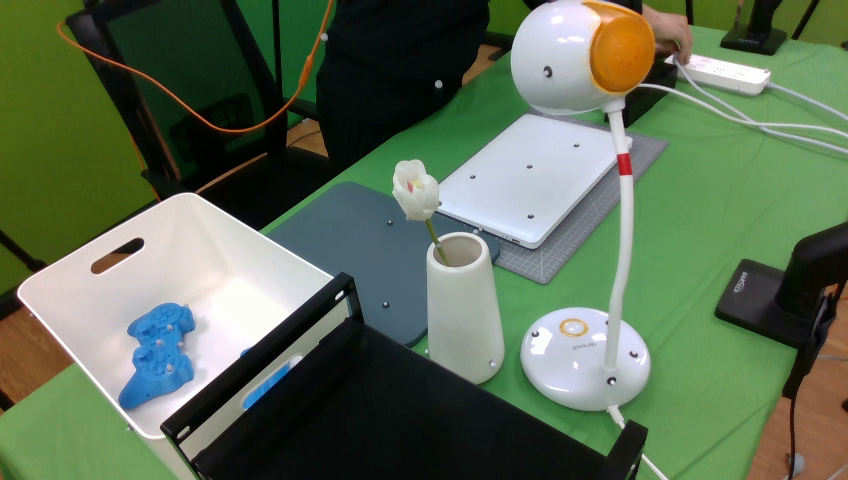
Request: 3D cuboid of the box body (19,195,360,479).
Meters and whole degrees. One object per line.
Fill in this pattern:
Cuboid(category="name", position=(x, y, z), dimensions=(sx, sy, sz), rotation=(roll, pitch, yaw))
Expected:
Cuboid(category="box body", position=(-0.288, 0.118, 0.772), dimensions=(0.361, 0.161, 0.255), rotation=(26, 50, 33))

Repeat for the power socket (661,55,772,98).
Cuboid(category="power socket", position=(0.618, -0.353, 1.290), dimensions=(0.225, 0.033, 0.072), rotation=(27, 52, 34))

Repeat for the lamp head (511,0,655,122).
Cuboid(category="lamp head", position=(0.155, -0.168, 0.563), dimensions=(0.113, 0.113, 0.122), rotation=(-18, 23, -12))

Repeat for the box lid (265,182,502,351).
Cuboid(category="box lid", position=(-0.087, 0.023, 0.971), dimensions=(0.368, 0.015, 0.264), rotation=(23, 49, 31))

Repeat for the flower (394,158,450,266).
Cuboid(category="flower", position=(0.028, 0.036, 0.664), dimensions=(0.043, 0.364, 0.038), rotation=(36, 73, 30))

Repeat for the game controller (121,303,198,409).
Cuboid(category="game controller", position=(-0.364, 0.149, 0.828), dimensions=(0.097, 0.052, 0.154), rotation=(-13, 41, -9))

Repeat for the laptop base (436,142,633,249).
Cuboid(category="laptop base", position=(0.193, -0.116, 1.087), dimensions=(0.233, 0.023, 0.355), rotation=(21, 47, 34))

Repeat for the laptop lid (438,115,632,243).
Cuboid(category="laptop lid", position=(0.190, -0.126, 1.082), dimensions=(0.239, 0.013, 0.358), rotation=(23, 49, 34))

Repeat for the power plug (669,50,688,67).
Cuboid(category="power plug", position=(0.539, -0.380, 1.305), dimensions=(0.073, 0.053, 0.035), rotation=(-29, 44, -21))

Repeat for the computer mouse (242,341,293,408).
Cuboid(category="computer mouse", position=(-0.200, 0.177, 0.776), dimensions=(0.063, 0.041, 0.116), rotation=(-11, 43, -8))

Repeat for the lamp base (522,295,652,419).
Cuboid(category="lamp base", position=(0.201, 0.095, 0.710), dimensions=(0.161, 0.181, 0.178), rotation=(-16, 43, -10))

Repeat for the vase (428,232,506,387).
Cuboid(category="vase", position=(0.050, 0.087, 0.728), dimensions=(0.098, 0.201, 0.097), rotation=(-3, 40, 3))

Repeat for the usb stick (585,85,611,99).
Cuboid(category="usb stick", position=(0.355, -0.306, 1.254), dimensions=(0.027, 0.021, 0.058), rotation=(-8, 5, -37))
